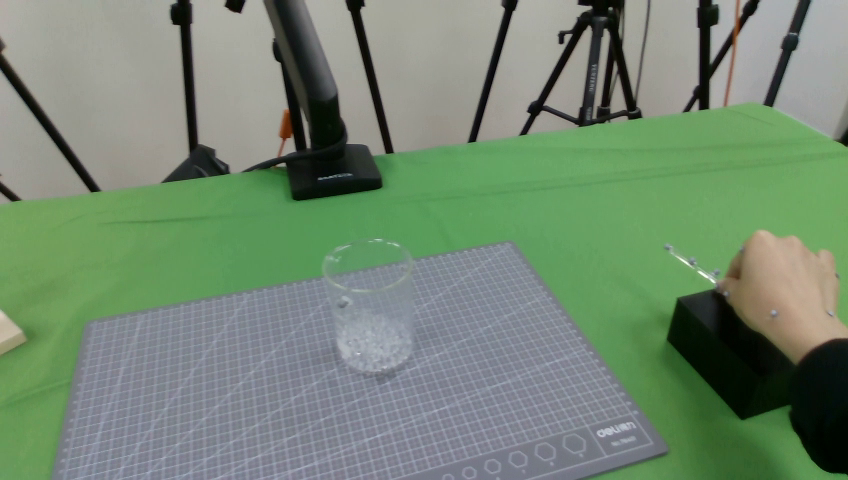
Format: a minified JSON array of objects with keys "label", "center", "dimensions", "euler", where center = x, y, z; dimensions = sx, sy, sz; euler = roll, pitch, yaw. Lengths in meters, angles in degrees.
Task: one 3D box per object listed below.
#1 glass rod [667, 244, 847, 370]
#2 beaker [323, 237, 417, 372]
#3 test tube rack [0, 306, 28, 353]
[{"label":"glass rod","center":[0.284,0.054,0.518],"dimensions":[0.008,0.008,0.197],"euler":[-18,38,-22]},{"label":"beaker","center":[-0.047,0.057,0.526],"dimensions":[0.083,0.101,0.074],"euler":[20,40,28]},{"label":"test tube rack","center":[-0.475,0.101,0.487],"dimensions":[0.066,0.086,0.242],"euler":[25,42,31]}]
